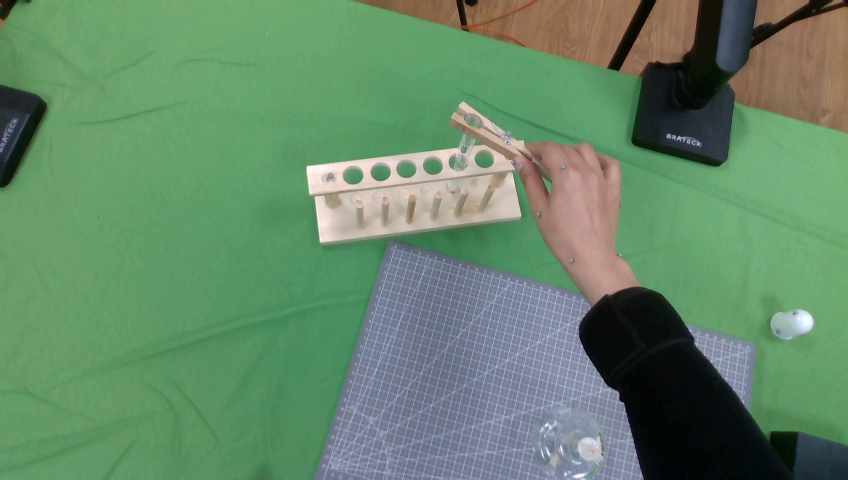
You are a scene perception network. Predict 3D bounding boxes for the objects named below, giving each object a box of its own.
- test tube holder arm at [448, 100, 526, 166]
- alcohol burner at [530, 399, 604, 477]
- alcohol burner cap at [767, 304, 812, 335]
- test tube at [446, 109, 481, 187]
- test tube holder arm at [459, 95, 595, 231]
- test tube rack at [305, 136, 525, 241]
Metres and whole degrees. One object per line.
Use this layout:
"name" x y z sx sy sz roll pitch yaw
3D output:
"test tube holder arm" 0.061 -0.103 0.585 0.088 0.015 0.010 37 45 2
"alcohol burner" 0.150 0.202 0.617 0.078 0.119 0.077 1 76 -4
"alcohol burner cap" 0.428 0.091 0.706 0.034 0.048 0.033 1 73 -3
"test tube" 0.040 -0.094 0.656 0.017 0.151 0.017 2 69 -5
"test tube holder arm" 0.097 -0.076 0.583 0.177 0.015 0.013 46 46 10
"test tube rack" -0.007 -0.058 0.695 0.243 0.085 0.066 -8 74 -6
